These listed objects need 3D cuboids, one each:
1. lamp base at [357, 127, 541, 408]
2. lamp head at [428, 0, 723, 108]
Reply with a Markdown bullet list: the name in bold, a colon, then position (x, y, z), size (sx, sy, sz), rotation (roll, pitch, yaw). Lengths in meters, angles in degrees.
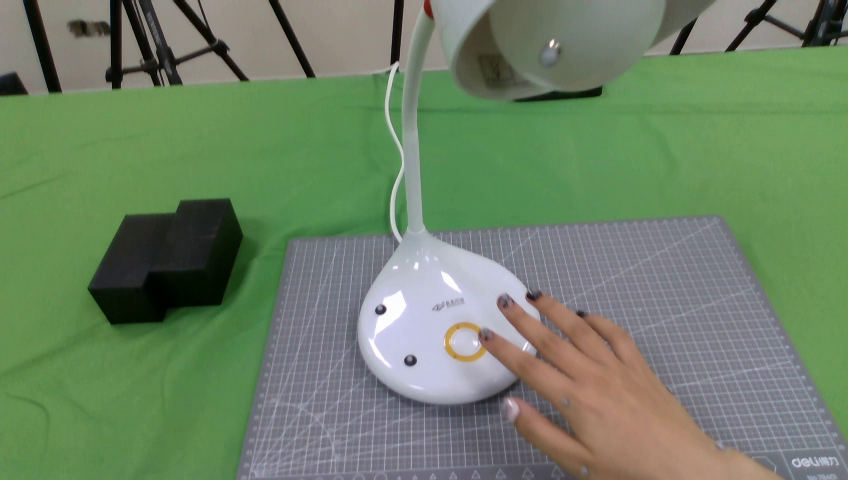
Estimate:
- **lamp base**: position (0.010, 0.013, 0.484), size (0.161, 0.182, 0.177), rotation (-23, 43, -19)
- **lamp head**: position (0.043, -0.125, 0.229), size (0.112, 0.113, 0.122), rotation (-17, 74, -14)
